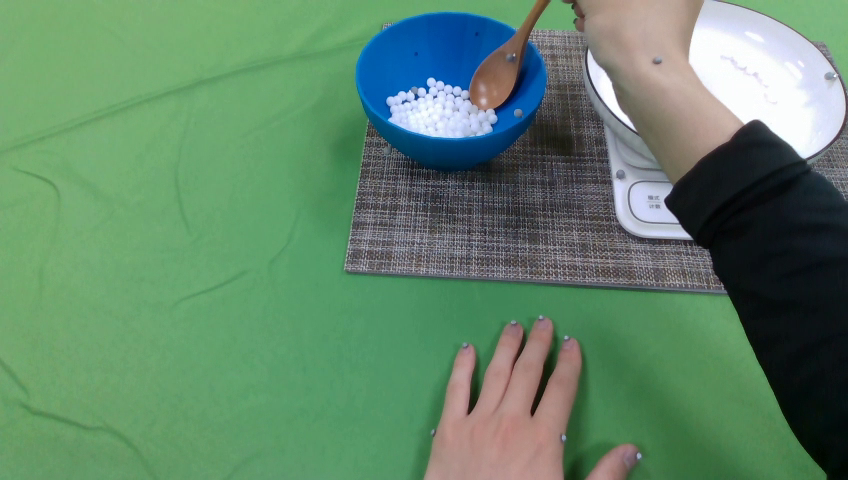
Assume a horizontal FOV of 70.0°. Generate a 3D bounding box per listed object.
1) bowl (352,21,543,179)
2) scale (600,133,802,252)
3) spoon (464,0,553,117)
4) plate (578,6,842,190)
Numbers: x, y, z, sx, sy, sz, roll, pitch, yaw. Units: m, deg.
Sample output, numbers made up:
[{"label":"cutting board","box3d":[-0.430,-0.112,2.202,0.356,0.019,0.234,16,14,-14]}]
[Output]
[{"label":"bowl","box3d":[0.019,-0.104,0.504,0.151,0.077,0.150,0,55,0]},{"label":"scale","box3d":[0.227,-0.081,0.519,0.148,0.032,0.199,3,56,1]},{"label":"spoon","box3d":[0.082,-0.164,0.457,0.022,0.194,0.041,-16,68,-33]},{"label":"plate","box3d":[0.229,-0.118,0.505,0.209,0.038,0.207,1,55,-1]}]
